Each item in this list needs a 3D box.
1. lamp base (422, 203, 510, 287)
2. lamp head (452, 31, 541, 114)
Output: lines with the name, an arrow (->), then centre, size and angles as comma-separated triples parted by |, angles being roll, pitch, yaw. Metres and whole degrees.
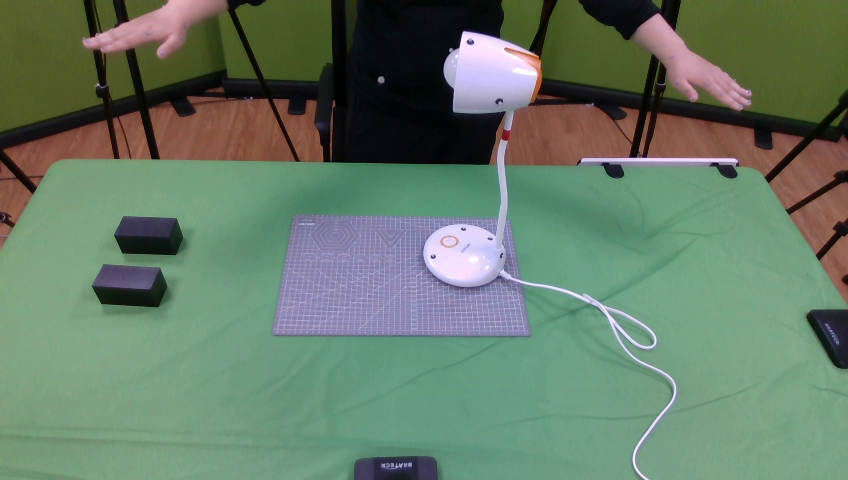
lamp base -> 0.092, -0.021, 1.111 | 0.179, 0.181, 0.160 | 23, 49, 14
lamp head -> 0.102, -0.228, 0.858 | 0.123, 0.113, 0.112 | 11, 46, 0
